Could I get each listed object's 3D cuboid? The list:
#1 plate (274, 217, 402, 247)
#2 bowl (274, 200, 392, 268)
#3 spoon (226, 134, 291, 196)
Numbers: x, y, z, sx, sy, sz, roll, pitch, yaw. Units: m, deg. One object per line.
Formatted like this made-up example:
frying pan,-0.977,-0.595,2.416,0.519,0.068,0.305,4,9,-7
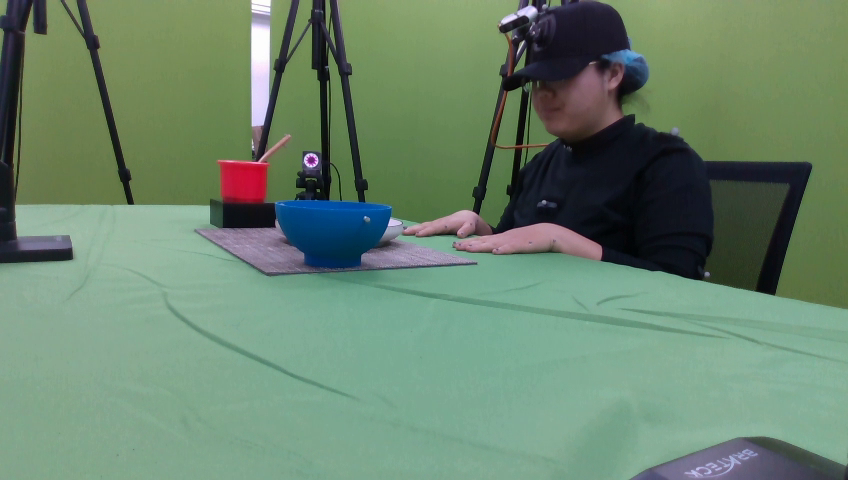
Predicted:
plate,-0.140,-0.015,0.993,0.208,0.039,0.207,3,8,0
bowl,-0.117,-0.008,0.781,0.151,0.077,0.151,3,7,0
spoon,-0.320,-0.149,1.187,0.041,0.022,0.194,8,53,36
